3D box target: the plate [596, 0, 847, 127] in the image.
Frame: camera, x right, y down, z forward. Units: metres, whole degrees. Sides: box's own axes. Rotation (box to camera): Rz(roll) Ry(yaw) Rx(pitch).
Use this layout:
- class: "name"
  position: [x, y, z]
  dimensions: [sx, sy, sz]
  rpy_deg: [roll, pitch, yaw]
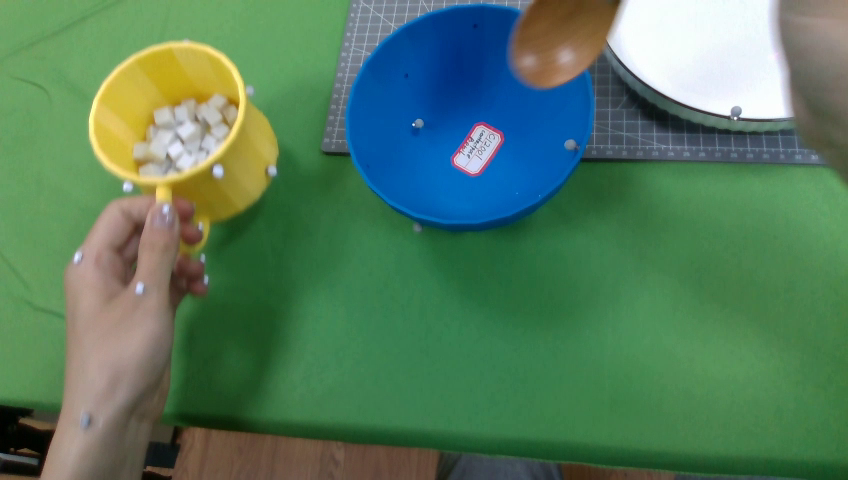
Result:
- class: "plate"
  position: [0.218, -0.164, 0.426]
  dimensions: [0.209, 0.038, 0.207]
  rpy_deg: [-3, 68, 7]

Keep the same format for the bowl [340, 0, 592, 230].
- class: "bowl"
  position: [0.029, -0.068, 0.395]
  dimensions: [0.151, 0.077, 0.150]
  rpy_deg: [-3, 72, 9]

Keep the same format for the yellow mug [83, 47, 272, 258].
- class: "yellow mug"
  position: [-0.158, -0.052, 0.397]
  dimensions: [0.100, 0.064, 0.130]
  rpy_deg: [-6, 71, 1]

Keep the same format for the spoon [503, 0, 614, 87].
- class: "spoon"
  position: [0.093, -0.129, 0.231]
  dimensions: [0.041, 0.194, 0.021]
  rpy_deg: [41, 52, -3]
